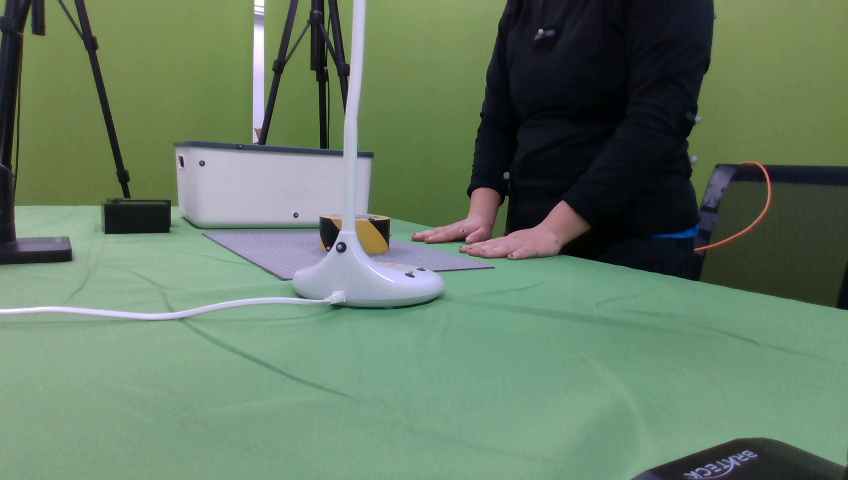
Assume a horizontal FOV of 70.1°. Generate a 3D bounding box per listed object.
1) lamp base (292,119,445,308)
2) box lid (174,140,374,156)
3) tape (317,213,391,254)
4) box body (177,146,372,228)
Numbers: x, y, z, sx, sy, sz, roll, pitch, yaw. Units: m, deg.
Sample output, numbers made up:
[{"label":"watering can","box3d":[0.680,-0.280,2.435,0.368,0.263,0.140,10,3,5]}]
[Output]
[{"label":"lamp base","box3d":[-0.056,-0.030,0.616,0.160,0.180,0.179,3,10,8]},{"label":"box lid","box3d":[-0.318,-0.190,1.270,0.373,0.015,0.262,-1,8,-29]},{"label":"tape","box3d":[-0.109,-0.012,0.938,0.117,0.052,0.117,2,7,0]},{"label":"box body","box3d":[-0.319,-0.117,1.279,0.366,0.160,0.253,-1,8,-29]}]
